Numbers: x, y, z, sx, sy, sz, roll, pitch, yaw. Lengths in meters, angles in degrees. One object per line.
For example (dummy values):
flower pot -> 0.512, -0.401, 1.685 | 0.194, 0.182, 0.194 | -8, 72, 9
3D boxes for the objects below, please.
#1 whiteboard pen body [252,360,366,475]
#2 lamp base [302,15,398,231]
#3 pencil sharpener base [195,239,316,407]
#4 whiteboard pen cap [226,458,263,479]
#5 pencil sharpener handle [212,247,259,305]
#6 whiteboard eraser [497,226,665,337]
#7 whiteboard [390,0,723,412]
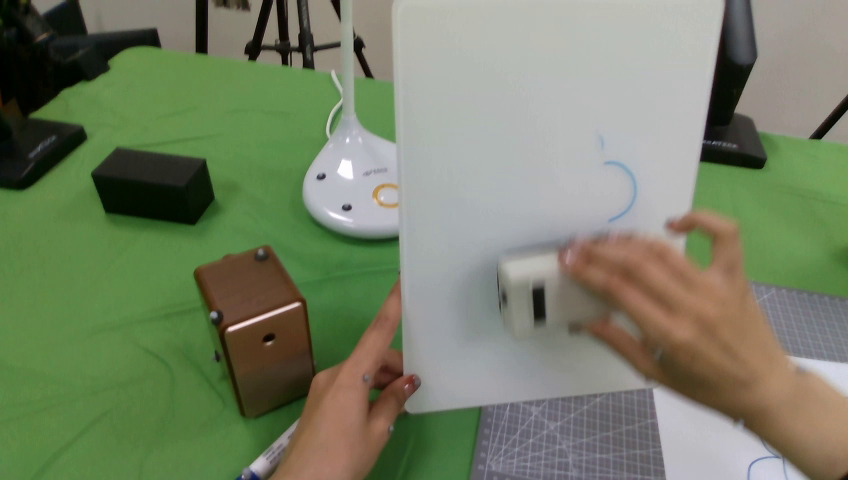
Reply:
whiteboard pen body -> -0.092, 0.137, 0.452 | 0.017, 0.017, 0.140 | 25, 43, 23
lamp base -> -0.060, -0.128, 0.633 | 0.161, 0.182, 0.177 | -24, 46, -28
pencil sharpener base -> -0.129, 0.064, 0.468 | 0.061, 0.108, 0.076 | -20, 46, -24
whiteboard pen cap -> -0.125, 0.164, 0.410 | 0.018, 0.018, 0.033 | 28, 43, 25
pencil sharpener handle -> -0.152, 0.024, 0.492 | 0.036, 0.068, 0.030 | -26, 48, -18
whiteboard eraser -> 0.107, 0.027, 0.417 | 0.113, 0.056, 0.041 | -11, 23, -5
whiteboard -> 0.081, -0.039, 0.492 | 0.217, 0.307, 0.142 | -4, 23, -7
